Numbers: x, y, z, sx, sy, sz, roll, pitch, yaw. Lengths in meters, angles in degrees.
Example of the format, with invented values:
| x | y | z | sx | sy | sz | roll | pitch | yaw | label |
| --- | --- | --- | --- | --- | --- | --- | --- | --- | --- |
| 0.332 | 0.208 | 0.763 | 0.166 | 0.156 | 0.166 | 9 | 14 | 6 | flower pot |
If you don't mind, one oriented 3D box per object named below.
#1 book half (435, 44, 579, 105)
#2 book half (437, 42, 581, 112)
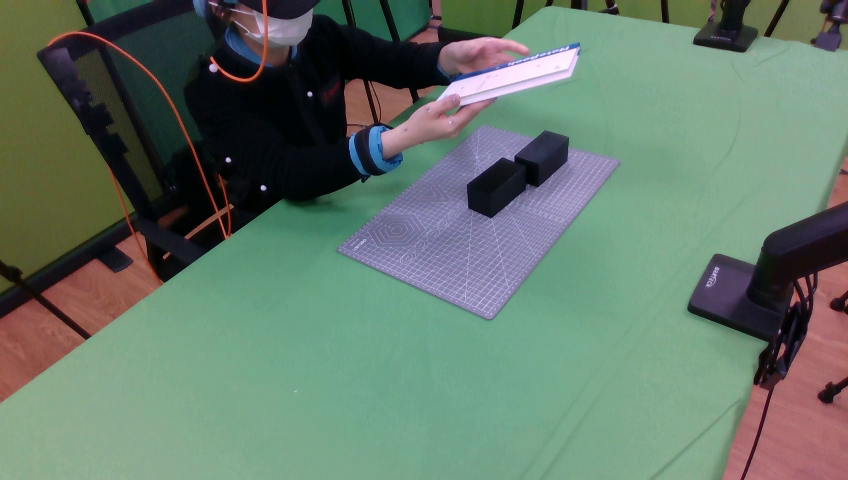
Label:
| x | y | z | sx | sy | sz | roll | pitch | yaw | label |
| --- | --- | --- | --- | --- | --- | --- | --- | --- | --- |
| 0.130 | -0.258 | 0.940 | 0.209 | 0.007 | 0.143 | -8 | 27 | 25 | book half |
| 0.132 | -0.255 | 0.946 | 0.209 | 0.016 | 0.148 | -9 | 28 | 25 | book half |
